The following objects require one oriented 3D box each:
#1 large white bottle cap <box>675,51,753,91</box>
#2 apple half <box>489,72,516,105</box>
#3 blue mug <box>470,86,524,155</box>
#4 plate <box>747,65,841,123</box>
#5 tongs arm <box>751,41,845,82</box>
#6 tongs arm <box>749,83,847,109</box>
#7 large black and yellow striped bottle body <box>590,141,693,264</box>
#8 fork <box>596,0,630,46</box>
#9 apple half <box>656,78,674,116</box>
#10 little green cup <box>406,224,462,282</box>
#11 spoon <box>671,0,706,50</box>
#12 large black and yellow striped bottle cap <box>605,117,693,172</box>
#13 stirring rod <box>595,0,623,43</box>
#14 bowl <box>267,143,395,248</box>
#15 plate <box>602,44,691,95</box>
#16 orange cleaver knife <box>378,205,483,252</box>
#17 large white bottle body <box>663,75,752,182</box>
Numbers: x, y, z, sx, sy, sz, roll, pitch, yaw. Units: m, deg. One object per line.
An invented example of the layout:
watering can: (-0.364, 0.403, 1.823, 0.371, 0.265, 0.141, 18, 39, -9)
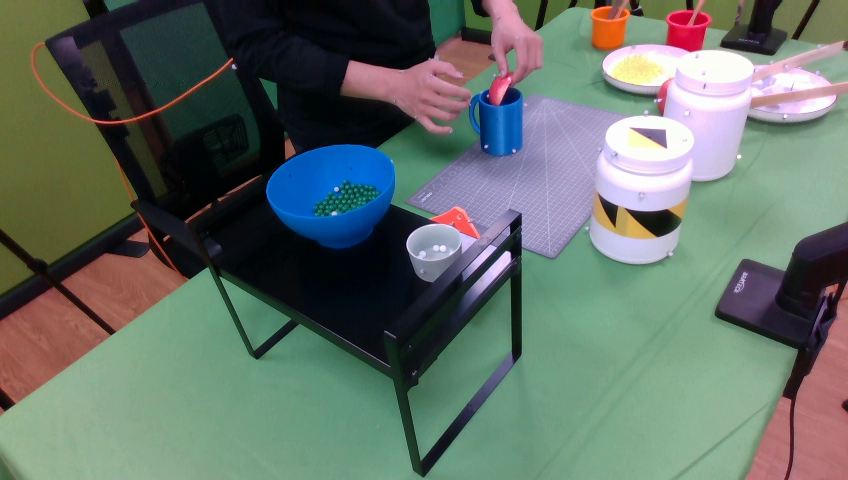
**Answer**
large white bottle cap: (0.463, -0.271, 0.967, 0.115, 0.018, 0.114, -4, 40, 4)
apple half: (0.138, -0.280, 1.114, 0.033, 0.081, 0.081, 27, 46, 0)
blue mug: (0.136, -0.234, 1.163, 0.115, 0.106, 0.082, 23, 50, 32)
plate: (0.695, -0.283, 1.189, 0.207, 0.039, 0.206, -4, 40, 4)
tongs arm: (0.708, -0.331, 1.194, 0.386, 0.026, 0.050, -19, 45, -16)
tongs arm: (0.735, -0.280, 1.133, 0.388, 0.028, 0.028, -9, 47, -5)
large black and yellow striped bottle body: (0.317, -0.071, 0.889, 0.131, 0.185, 0.130, -4, 41, 4)
fork: (0.481, -0.556, 1.452, 0.028, 0.019, 0.207, 40, 103, 40)
apple half: (0.488, -0.281, 1.192, 0.053, 0.075, 0.081, 24, 54, 37)
little green cup: (0.012, 0.015, 0.668, 0.061, 0.039, 0.061, -4, 40, 4)
spoon: (0.628, -0.520, 1.394, 0.041, 0.022, 0.193, 30, 97, 34)
large black and yellow striped bottle cap: (0.309, -0.134, 0.833, 0.115, 0.019, 0.114, -5, 40, 5)
stirring rod: (0.460, -0.556, 1.460, 0.014, 0.006, 0.176, 30, 93, 23)
bowl: (-0.104, -0.043, 0.726, 0.151, 0.077, 0.150, -4, 40, 4)
plate: (0.495, -0.366, 1.317, 0.209, 0.038, 0.208, -4, 40, 4)
orange cleaver knife: (0.005, -0.010, 0.944, 0.210, 0.077, 0.012, -5, 23, 47)
large white bottle body: (0.472, -0.207, 1.022, 0.130, 0.185, 0.130, -4, 41, 4)
